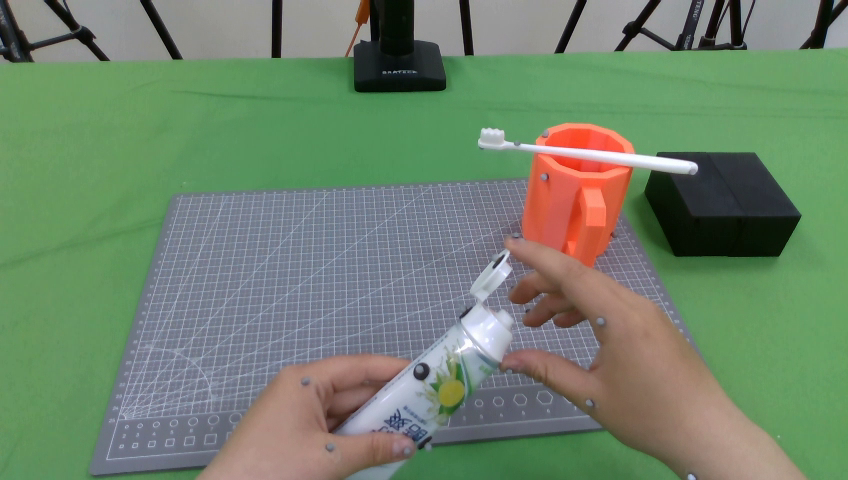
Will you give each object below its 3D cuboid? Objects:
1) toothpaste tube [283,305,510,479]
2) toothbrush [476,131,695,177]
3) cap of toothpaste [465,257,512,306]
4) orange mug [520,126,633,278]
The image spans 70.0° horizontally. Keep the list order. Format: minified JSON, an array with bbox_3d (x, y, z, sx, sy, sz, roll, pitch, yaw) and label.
[{"bbox_3d":[-0.011,0.100,0.358,0.055,0.165,0.034,41,8,-14],"label":"toothpaste tube"},{"bbox_3d":[0.134,-0.072,0.510,0.181,0.017,0.014,9,35,8],"label":"toothbrush"},{"bbox_3d":[0.039,0.024,0.348,0.011,0.037,0.037,45,54,9],"label":"cap of toothpaste"},{"bbox_3d":[0.137,-0.030,0.542,0.083,0.101,0.125,2,38,0],"label":"orange mug"}]
